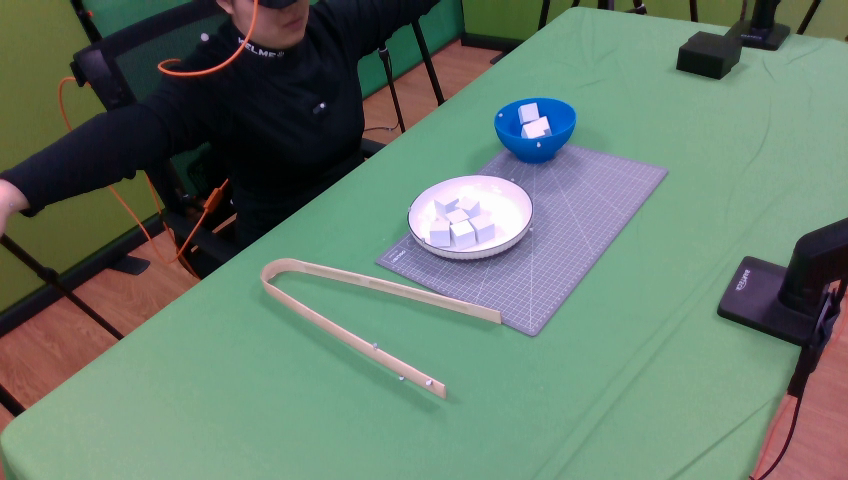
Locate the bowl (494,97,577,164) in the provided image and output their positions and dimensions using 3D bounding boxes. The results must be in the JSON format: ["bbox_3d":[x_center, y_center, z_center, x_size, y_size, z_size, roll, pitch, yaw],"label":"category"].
[{"bbox_3d":[0.207,-0.196,1.128,0.151,0.077,0.150,-5,40,5],"label":"bowl"}]

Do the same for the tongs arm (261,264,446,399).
[{"bbox_3d":[-0.110,0.118,0.854,0.381,0.026,0.051,21,48,33],"label":"tongs arm"}]

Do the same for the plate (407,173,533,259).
[{"bbox_3d":[0.076,-0.037,0.997,0.207,0.039,0.206,-5,40,5],"label":"plate"}]

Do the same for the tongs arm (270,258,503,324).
[{"bbox_3d":[-0.066,0.074,0.903,0.385,0.028,0.028,11,47,23],"label":"tongs arm"}]
